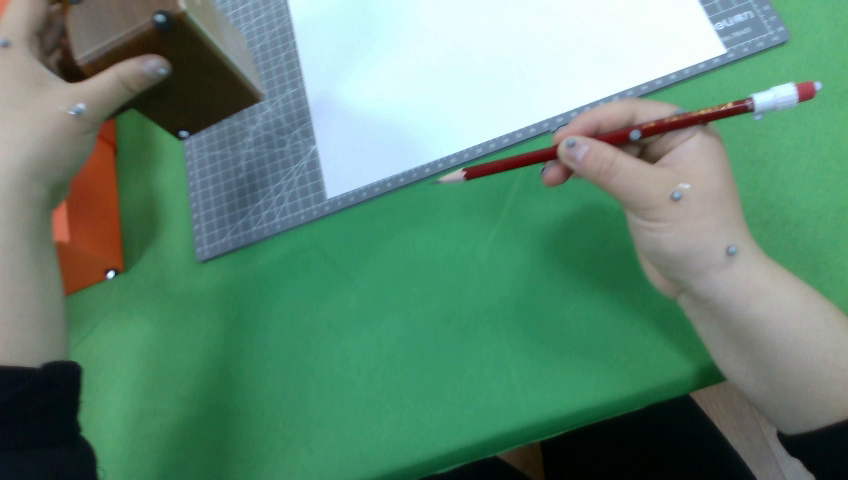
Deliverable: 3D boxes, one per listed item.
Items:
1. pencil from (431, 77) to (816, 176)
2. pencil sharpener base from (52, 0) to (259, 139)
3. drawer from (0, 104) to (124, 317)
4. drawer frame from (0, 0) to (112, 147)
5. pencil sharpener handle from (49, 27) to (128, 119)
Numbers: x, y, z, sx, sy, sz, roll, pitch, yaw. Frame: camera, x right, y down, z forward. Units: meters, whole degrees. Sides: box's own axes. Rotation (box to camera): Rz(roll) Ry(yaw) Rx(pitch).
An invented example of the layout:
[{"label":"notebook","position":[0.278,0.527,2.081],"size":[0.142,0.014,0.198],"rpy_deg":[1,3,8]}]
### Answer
[{"label":"pencil","position":[0.097,-0.056,0.314],"size":[0.194,0.012,0.012],"rpy_deg":[-12,68,12]},{"label":"pencil sharpener base","position":[-0.169,-0.122,0.392],"size":[0.076,0.108,0.061],"rpy_deg":[-28,72,4]},{"label":"drawer","position":[-0.358,-0.043,0.495],"size":[0.194,0.074,0.210],"rpy_deg":[-21,66,8]},{"label":"drawer frame","position":[-0.391,-0.146,0.540],"size":[0.201,0.083,0.211],"rpy_deg":[-21,66,8]},{"label":"pencil sharpener handle","position":[-0.217,-0.101,0.384],"size":[0.030,0.068,0.035],"rpy_deg":[-28,68,4]}]
